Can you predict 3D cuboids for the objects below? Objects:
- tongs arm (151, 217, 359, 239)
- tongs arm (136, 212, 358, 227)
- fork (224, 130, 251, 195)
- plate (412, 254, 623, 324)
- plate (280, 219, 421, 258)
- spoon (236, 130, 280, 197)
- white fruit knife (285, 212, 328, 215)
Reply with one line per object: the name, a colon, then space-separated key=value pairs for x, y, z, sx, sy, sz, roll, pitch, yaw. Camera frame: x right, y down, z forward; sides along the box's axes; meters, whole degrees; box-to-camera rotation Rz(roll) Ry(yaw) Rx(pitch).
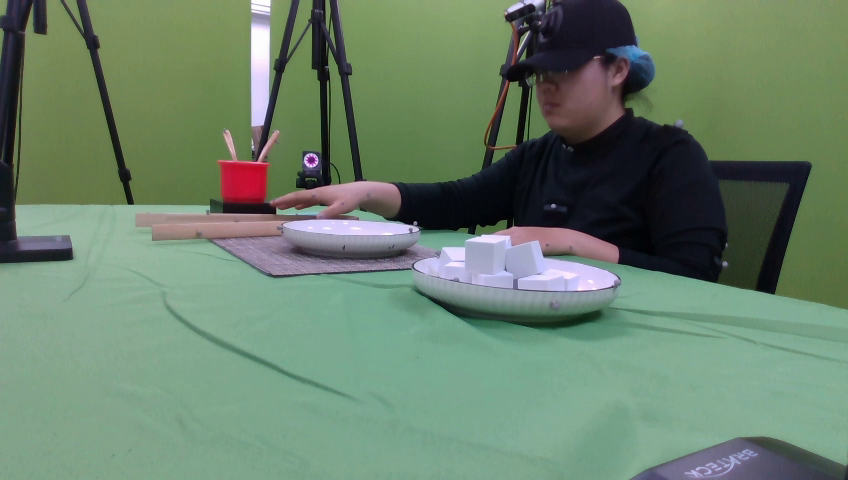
tongs arm: x=-0.264 y=-0.023 z=1.032 sx=0.390 sy=0.028 sz=0.028 roll=-3 pitch=4 yaw=-42
tongs arm: x=-0.308 y=-0.034 z=1.100 sx=0.387 sy=0.026 sz=0.050 roll=-1 pitch=6 yaw=-29
fork: x=-0.372 y=-0.155 z=1.193 sx=0.028 sy=0.018 sz=0.206 roll=-17 pitch=54 yaw=-14
plate: x=0.090 y=0.047 z=0.609 sx=0.209 sy=0.038 sz=0.209 roll=2 pitch=7 yaw=0
plate: x=-0.108 y=-0.002 z=0.902 sx=0.208 sy=0.039 sz=0.207 roll=3 pitch=7 yaw=0
spoon: x=-0.321 y=-0.154 z=1.192 sx=0.041 sy=0.193 sz=0.022 roll=0 pitch=-37 yaw=19
white fruit knife: x=-0.304 y=-0.050 z=1.328 sx=0.208 sy=0.016 sz=0.027 roll=-3 pitch=-19 yaw=-29
